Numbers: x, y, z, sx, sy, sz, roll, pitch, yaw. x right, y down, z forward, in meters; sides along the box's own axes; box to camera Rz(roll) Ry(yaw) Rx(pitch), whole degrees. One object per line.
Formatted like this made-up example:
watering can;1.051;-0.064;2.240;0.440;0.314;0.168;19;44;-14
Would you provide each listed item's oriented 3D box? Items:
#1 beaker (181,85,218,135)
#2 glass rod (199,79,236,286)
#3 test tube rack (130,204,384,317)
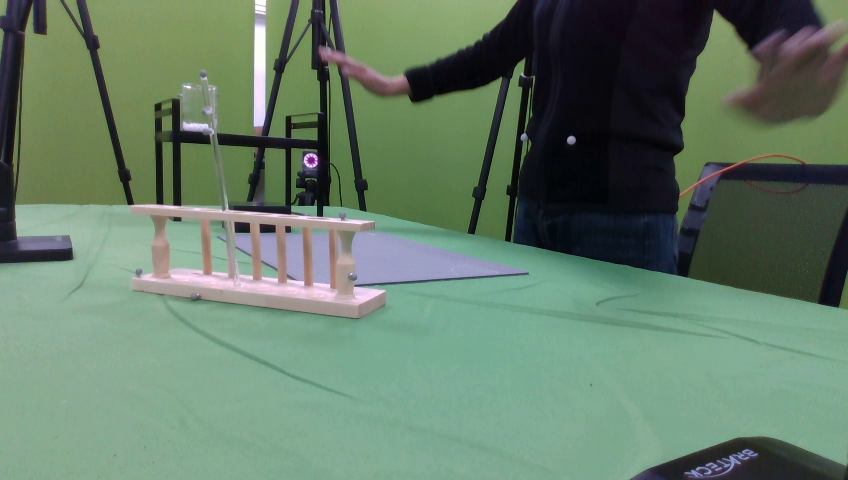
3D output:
beaker;-0.476;-0.276;1.290;0.074;0.100;0.083;-4;10;-36
glass rod;-0.194;-0.050;0.569;0.008;0.199;0.008;-6;7;1
test tube rack;-0.163;0.013;0.589;0.242;0.085;0.067;5;8;17
